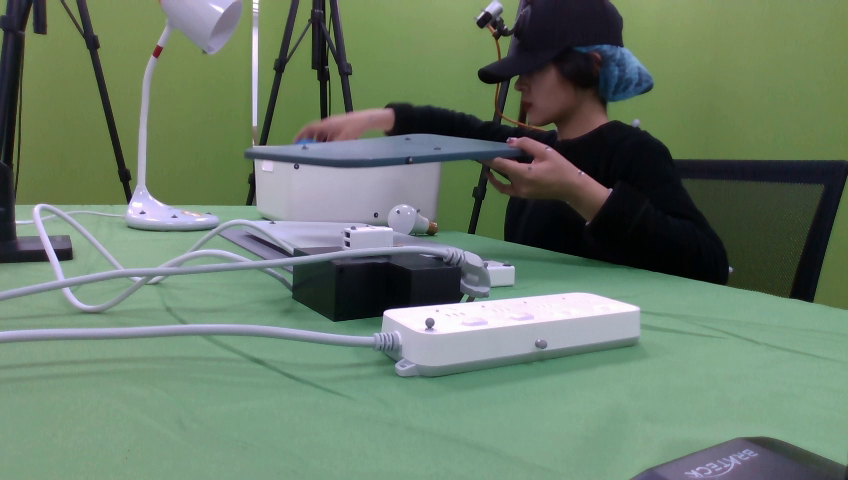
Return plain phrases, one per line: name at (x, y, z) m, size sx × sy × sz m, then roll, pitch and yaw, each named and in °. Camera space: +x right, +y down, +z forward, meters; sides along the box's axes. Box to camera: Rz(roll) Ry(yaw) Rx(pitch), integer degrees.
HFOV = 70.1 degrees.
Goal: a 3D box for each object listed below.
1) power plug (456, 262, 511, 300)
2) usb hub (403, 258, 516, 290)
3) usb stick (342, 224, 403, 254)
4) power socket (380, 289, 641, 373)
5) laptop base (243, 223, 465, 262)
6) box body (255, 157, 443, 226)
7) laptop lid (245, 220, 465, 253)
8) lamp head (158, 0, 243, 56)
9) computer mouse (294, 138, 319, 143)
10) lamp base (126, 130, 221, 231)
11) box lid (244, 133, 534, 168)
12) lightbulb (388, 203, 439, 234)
power plug at (0.052, 0.051, 0.543) m, size 0.035 × 0.052 × 0.072 m, roll 6°, pitch 37°, yaw -20°
usb hub at (0.042, 0.038, 0.690) m, size 0.126 × 0.025 × 0.049 m, roll -2°, pitch 9°, yaw -30°
usb stick at (-0.047, -0.001, 0.567) m, size 0.059 × 0.027 × 0.021 m, roll 0°, pitch 5°, yaw -32°
power socket at (0.072, 0.064, 0.461) m, size 0.228 × 0.032 × 0.072 m, roll -2°, pitch 8°, yaw -30°
laptop base at (-0.126, 0.003, 0.946) m, size 0.237 × 0.023 × 0.352 m, roll 2°, pitch 6°, yaw -31°
box body at (-0.168, -0.120, 1.343) m, size 0.366 × 0.160 × 0.253 m, roll -2°, pitch 8°, yaw -31°
laptop lid at (-0.124, -0.009, 0.945) m, size 0.243 × 0.013 × 0.355 m, roll 1°, pitch 7°, yaw -29°
lamp head at (-0.398, -0.397, 1.057) m, size 0.123 × 0.112 × 0.112 m, roll 27°, pitch 5°, yaw -7°
computer mouse at (-0.222, -0.190, 1.295) m, size 0.118 × 0.041 × 0.062 m, roll 15°, pitch 3°, yaw -33°
lamp base at (-0.469, -0.112, 1.108) m, size 0.179 × 0.180 × 0.160 m, roll 0°, pitch 7°, yaw 3°
box lid at (-0.044, -0.135, 0.882) m, size 0.373 × 0.015 × 0.262 m, roll -14°, pitch 19°, yaw -43°
lightbulb at (-0.018, -0.035, 1.161) m, size 0.108 × 0.059 × 0.059 m, roll 16°, pitch 0°, yaw -28°
